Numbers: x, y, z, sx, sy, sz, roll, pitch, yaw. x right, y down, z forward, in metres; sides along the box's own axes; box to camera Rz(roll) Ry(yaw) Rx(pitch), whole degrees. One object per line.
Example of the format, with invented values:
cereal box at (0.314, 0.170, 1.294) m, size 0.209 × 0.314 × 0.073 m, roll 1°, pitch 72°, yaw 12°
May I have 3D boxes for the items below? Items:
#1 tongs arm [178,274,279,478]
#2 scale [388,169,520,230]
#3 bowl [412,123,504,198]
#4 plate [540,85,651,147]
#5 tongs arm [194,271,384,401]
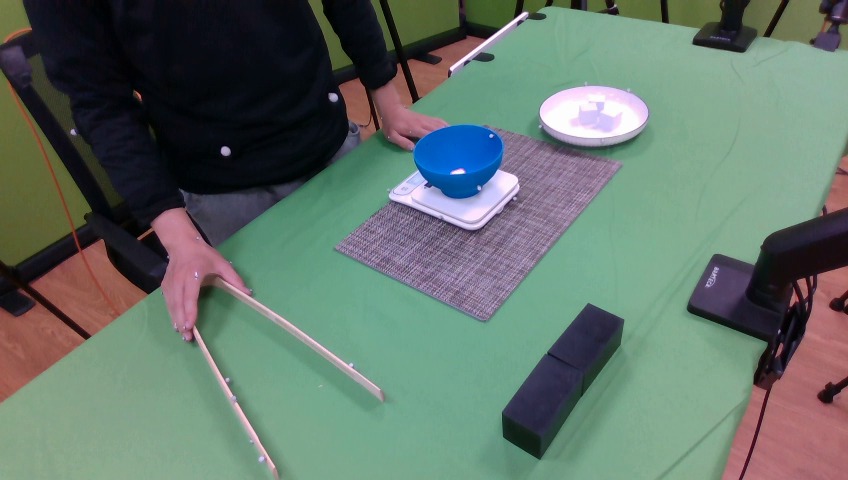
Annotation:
tongs arm at (-0.261, 0.161, 0.807) m, size 0.051 × 0.026 × 0.381 m, roll -29°, pitch 44°, yaw -24°
scale at (0.050, -0.090, 1.051) m, size 0.199 × 0.032 × 0.149 m, roll 24°, pitch 49°, yaw 31°
bowl at (0.060, -0.123, 1.007) m, size 0.151 × 0.077 × 0.150 m, roll -5°, pitch 41°, yaw 5°
plate at (0.333, -0.238, 1.186) m, size 0.207 × 0.039 × 0.206 m, roll -4°, pitch 41°, yaw 4°
tongs arm at (-0.200, 0.124, 0.846) m, size 0.384 × 0.028 × 0.028 m, roll 25°, pitch 53°, yaw 32°
